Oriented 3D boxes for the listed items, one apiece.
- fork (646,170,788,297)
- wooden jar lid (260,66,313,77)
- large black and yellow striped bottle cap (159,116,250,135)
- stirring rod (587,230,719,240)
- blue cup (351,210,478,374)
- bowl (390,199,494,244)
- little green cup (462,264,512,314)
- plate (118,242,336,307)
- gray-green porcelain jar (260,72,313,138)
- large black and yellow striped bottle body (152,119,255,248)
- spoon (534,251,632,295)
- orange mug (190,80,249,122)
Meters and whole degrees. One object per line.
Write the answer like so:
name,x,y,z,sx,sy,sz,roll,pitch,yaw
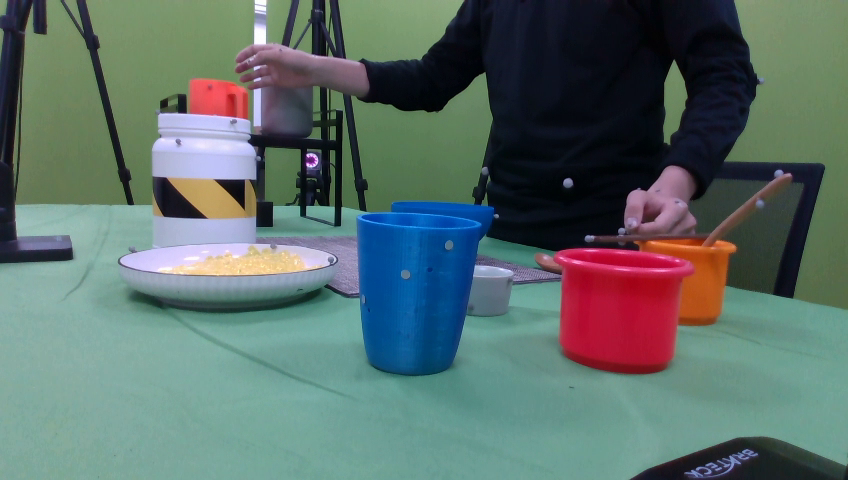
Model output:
fork,0.256,0.004,0.543,0.028,0.018,0.207,3,-36,-9
wooden jar lid,-0.283,-0.339,1.244,0.108,0.020,0.108,5,8,0
large black and yellow striped bottle cap,-0.292,-0.153,0.810,0.115,0.019,0.115,3,8,0
stirring rod,0.226,-0.006,0.587,0.177,0.006,0.014,-2,9,-29
blue cup,-0.009,0.034,0.414,0.093,0.100,0.092,4,8,0
bowl,0.024,-0.015,0.872,0.151,0.077,0.151,3,7,0
little green cup,0.053,0.047,0.580,0.061,0.038,0.061,3,8,0
plate,-0.194,0.033,0.615,0.209,0.038,0.209,2,7,0
gray-green porcelain jar,-0.284,-0.277,1.253,0.106,0.126,0.106,2,8,0
large black and yellow striped bottle body,-0.296,-0.070,0.819,0.131,0.184,0.130,2,7,0
spoon,0.194,0.038,0.753,0.042,0.021,0.193,14,2,-20
orange mug,-0.393,-0.257,1.173,0.126,0.100,0.084,1,6,25
